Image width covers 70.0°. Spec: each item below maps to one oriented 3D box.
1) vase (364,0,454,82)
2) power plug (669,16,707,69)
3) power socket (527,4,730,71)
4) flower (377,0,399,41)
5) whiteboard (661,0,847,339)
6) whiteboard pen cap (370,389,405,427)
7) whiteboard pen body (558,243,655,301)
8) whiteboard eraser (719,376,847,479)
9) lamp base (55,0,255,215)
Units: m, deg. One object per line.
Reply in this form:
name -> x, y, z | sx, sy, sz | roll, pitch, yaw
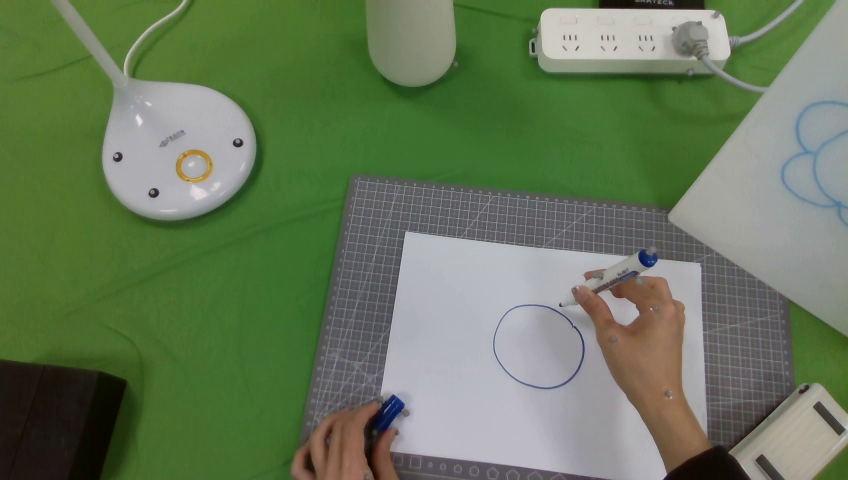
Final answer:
vase -> -0.018, -0.249, 0.609 | 0.098, 0.201, 0.097 | -1, 69, 2
power plug -> 0.282, -0.208, 0.655 | 0.035, 0.053, 0.072 | 11, 76, 5
power socket -> 0.232, -0.229, 0.687 | 0.227, 0.033, 0.071 | 1, 70, 1
flower -> -0.001, -0.268, 0.528 | 0.044, 0.361, 0.038 | -36, 90, -21
whiteboard -> 0.399, -0.092, 0.522 | 0.216, 0.307, 0.143 | 37, 53, 14
whiteboard pen cap -> -0.032, 0.153, 0.554 | 0.018, 0.018, 0.033 | 37, 74, 14
whiteboard pen body -> 0.152, 0.033, 0.527 | 0.017, 0.141, 0.017 | 7, 67, -16
whiteboard eraser -> 0.316, 0.173, 0.529 | 0.112, 0.042, 0.055 | -36, 72, -11
lamp base -> -0.273, -0.135, 0.579 | 0.178, 0.181, 0.160 | 38, 74, 17
